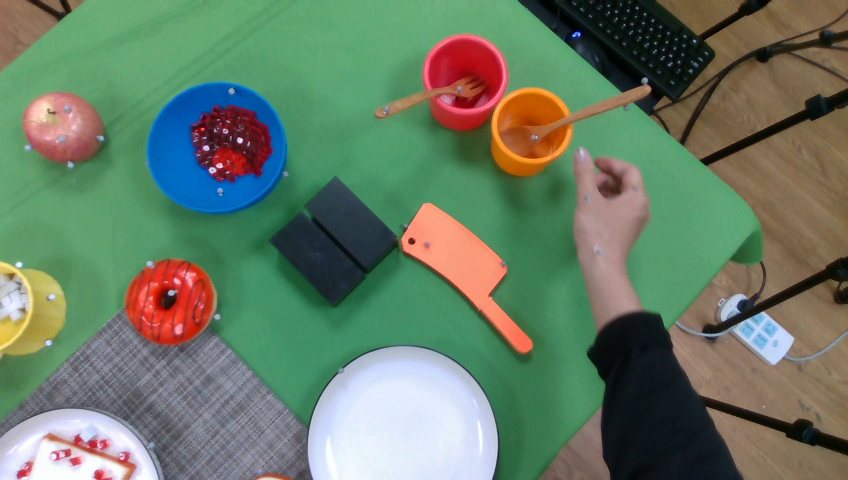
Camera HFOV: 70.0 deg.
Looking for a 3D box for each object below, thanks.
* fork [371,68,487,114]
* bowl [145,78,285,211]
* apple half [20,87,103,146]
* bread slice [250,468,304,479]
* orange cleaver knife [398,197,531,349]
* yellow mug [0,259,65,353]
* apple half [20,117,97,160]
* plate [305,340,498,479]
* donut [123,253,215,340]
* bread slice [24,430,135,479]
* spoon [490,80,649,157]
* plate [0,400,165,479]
[{"bbox_3d":[0.010,-0.168,0.680,0.028,0.018,0.207,51,41,7],"label":"fork"},{"bbox_3d":[-0.229,-0.100,0.697,0.151,0.077,0.151,0,80,-1],"label":"bowl"},{"bbox_3d":[-0.413,-0.146,0.703,0.081,0.075,0.053,10,74,4],"label":"apple half"},{"bbox_3d":[-0.164,0.305,0.619,0.106,0.018,0.134,36,60,10],"label":"bread slice"},{"bbox_3d":[0.057,0.036,0.711,0.210,0.012,0.077,44,75,7],"label":"orange cleaver knife"},{"bbox_3d":[-0.470,0.087,0.665,0.100,0.064,0.130,21,81,2],"label":"yellow mug"},{"bbox_3d":[-0.419,-0.108,0.695,0.081,0.081,0.032,11,75,1],"label":"apple half"},{"bbox_3d":[-0.024,0.214,0.667,0.209,0.038,0.208,0,81,-1],"label":"plate"},{"bbox_3d":[-0.286,0.063,0.680,0.099,0.048,0.098,0,80,-2],"label":"donut"},{"bbox_3d":[-0.381,0.283,0.644,0.105,0.019,0.131,17,80,2],"label":"bread slice"},{"bbox_3d":[0.156,-0.137,0.677,0.022,0.193,0.041,3,75,-46],"label":"spoon"},{"bbox_3d":[-0.376,0.275,0.644,0.208,0.039,0.207,0,80,-1],"label":"plate"}]
